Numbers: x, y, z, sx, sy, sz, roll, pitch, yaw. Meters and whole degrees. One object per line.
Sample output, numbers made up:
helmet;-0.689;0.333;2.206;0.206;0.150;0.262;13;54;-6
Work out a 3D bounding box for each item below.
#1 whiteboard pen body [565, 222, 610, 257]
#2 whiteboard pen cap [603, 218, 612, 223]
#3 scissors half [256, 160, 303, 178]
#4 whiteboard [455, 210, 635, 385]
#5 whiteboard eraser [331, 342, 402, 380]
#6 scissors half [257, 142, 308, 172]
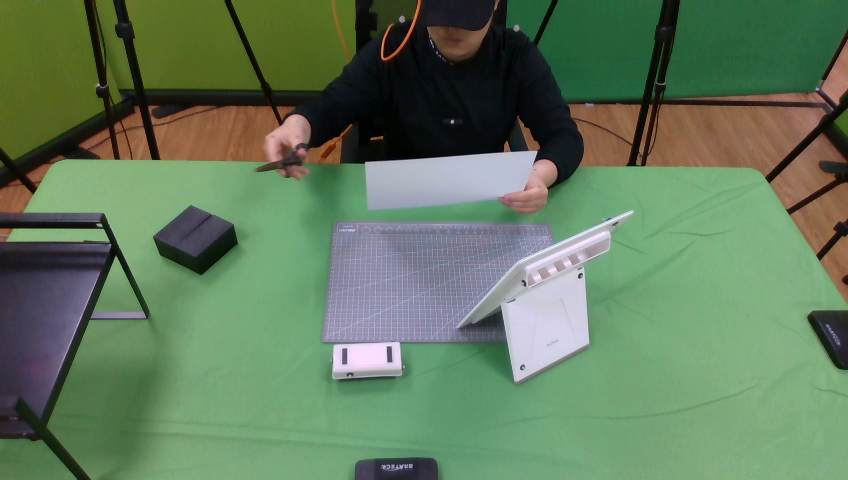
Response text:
whiteboard pen body;0.335;-0.004;1.228;0.141;0.017;0.017;-33;56;-29
whiteboard pen cap;0.379;-0.031;1.255;0.033;0.018;0.018;-33;57;-30
scissors half;-0.260;-0.128;1.089;0.013;0.040;0.175;28;12;6
whiteboard;0.211;0.111;0.955;0.217;0.306;0.143;-20;71;-23
whiteboard eraser;-0.094;0.198;0.986;0.113;0.042;0.055;-2;44;-6
scissors half;-0.250;-0.144;1.082;0.013;0.040;0.175;33;28;4
